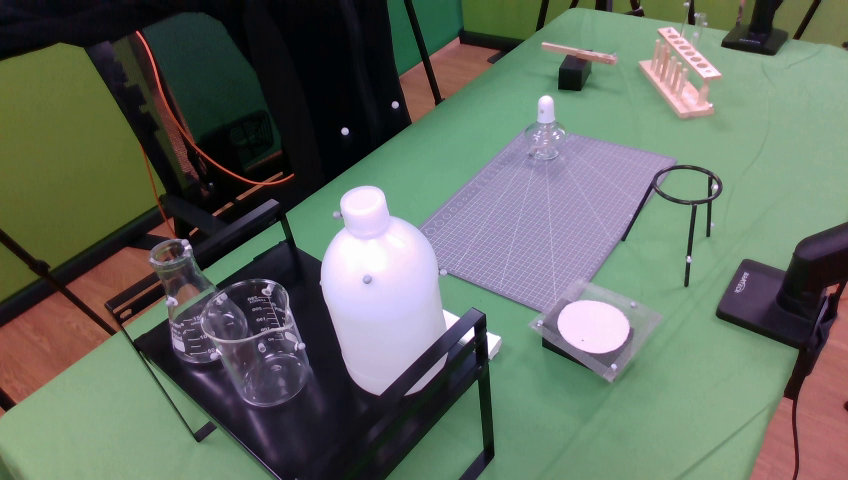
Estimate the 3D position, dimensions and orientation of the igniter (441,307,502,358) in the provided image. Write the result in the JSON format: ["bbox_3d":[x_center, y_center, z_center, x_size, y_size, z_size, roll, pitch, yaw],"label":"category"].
[{"bbox_3d":[-0.009,0.094,0.870,0.274,0.025,0.057,25,60,33],"label":"igniter"}]

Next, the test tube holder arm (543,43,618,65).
[{"bbox_3d":[0.344,-0.413,1.340,0.177,0.015,0.013,25,50,31],"label":"test tube holder arm"}]

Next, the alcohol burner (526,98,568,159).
[{"bbox_3d":[0.228,-0.210,1.118,0.078,0.119,0.077,-5,43,5],"label":"alcohol burner"}]

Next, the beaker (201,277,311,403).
[{"bbox_3d":[-0.146,0.095,0.555,0.083,0.101,0.074,11,44,20],"label":"beaker"}]

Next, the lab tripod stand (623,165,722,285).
[{"bbox_3d":[0.365,-0.030,0.874,0.148,0.132,0.147,-6,41,6],"label":"lab tripod stand"}]

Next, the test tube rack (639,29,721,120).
[{"bbox_3d":[0.527,-0.351,1.262,0.067,0.085,0.241,-8,40,1],"label":"test tube rack"}]

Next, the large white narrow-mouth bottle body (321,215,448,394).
[{"bbox_3d":[-0.036,0.041,0.527,0.102,0.195,0.101,-5,41,5],"label":"large white narrow-mouth bottle body"}]

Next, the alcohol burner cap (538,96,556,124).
[{"bbox_3d":[0.222,-0.237,1.095,0.034,0.048,0.033,-7,35,5],"label":"alcohol burner cap"}]

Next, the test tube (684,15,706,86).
[{"bbox_3d":[0.541,-0.378,1.215,0.017,0.151,0.017,-2,44,3],"label":"test tube"}]

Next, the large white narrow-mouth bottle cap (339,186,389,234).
[{"bbox_3d":[-0.046,-0.024,0.469,0.038,0.024,0.037,-4,41,4],"label":"large white narrow-mouth bottle cap"}]

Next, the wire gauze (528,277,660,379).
[{"bbox_3d":[0.213,0.103,0.763,0.124,0.011,0.122,30,52,35],"label":"wire gauze"}]

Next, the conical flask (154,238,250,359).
[{"bbox_3d":[-0.225,0.055,0.598,0.075,0.122,0.075,-5,41,4],"label":"conical flask"}]

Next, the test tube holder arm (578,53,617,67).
[{"bbox_3d":[0.376,-0.393,1.314,0.087,0.015,0.010,26,51,32],"label":"test tube holder arm"}]

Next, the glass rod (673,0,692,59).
[{"bbox_3d":[0.537,-0.437,1.257,0.008,0.200,0.008,0,39,1],"label":"glass rod"}]
